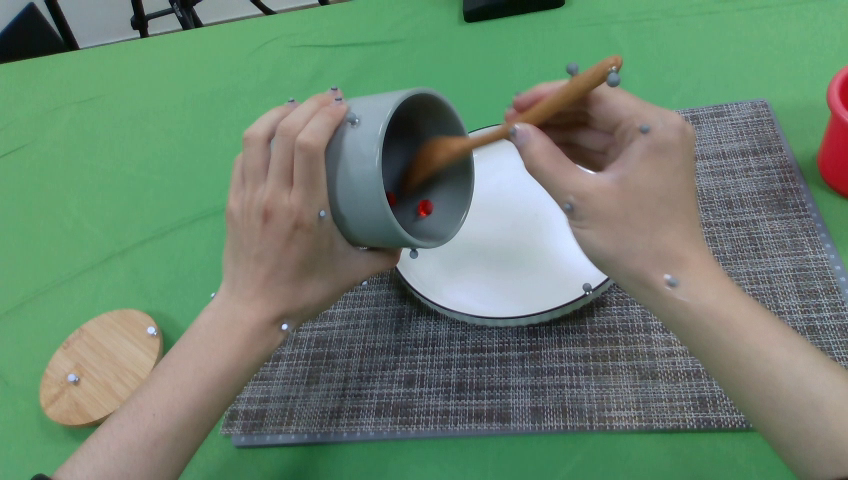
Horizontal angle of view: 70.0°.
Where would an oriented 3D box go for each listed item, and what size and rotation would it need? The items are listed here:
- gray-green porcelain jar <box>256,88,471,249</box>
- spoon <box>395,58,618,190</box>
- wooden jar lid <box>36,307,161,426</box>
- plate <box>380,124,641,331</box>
[{"bbox_3d":[-0.047,-0.047,0.431,0.125,0.107,0.105,2,51,36],"label":"gray-green porcelain jar"},{"bbox_3d":[0.037,-0.066,0.361,0.193,0.022,0.041,-14,43,51],"label":"spoon"},{"bbox_3d":[-0.272,0.107,0.514,0.108,0.021,0.107,-7,51,9],"label":"wooden jar lid"},{"bbox_3d":[0.068,-0.012,0.497,0.207,0.039,0.205,-8,50,10],"label":"plate"}]
